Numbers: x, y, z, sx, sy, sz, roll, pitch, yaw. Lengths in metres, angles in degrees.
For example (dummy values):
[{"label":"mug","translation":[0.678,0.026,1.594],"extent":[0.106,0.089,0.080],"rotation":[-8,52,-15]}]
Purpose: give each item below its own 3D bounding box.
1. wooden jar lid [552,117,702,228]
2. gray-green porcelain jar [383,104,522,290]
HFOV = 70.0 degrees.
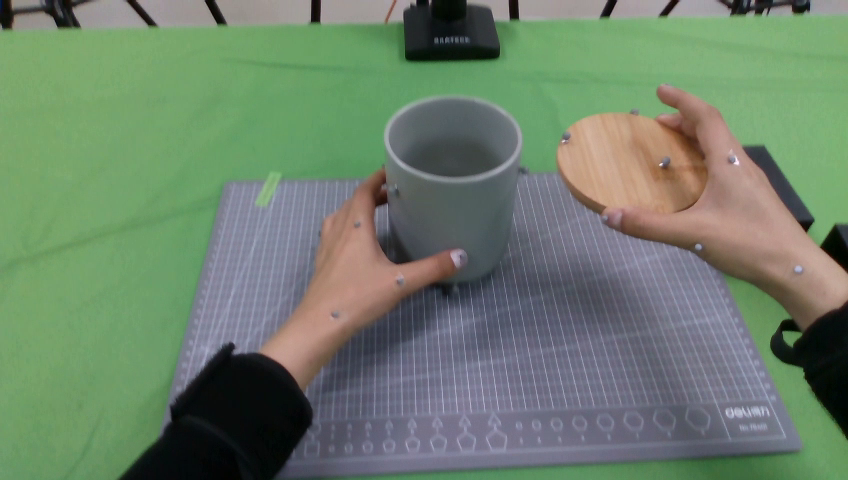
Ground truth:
[{"label":"wooden jar lid","translation":[0.147,-0.049,0.446],"extent":[0.108,0.021,0.107],"rotation":[2,50,-2]},{"label":"gray-green porcelain jar","translation":[0.021,-0.030,0.500],"extent":[0.106,0.127,0.105],"rotation":[1,47,0]}]
